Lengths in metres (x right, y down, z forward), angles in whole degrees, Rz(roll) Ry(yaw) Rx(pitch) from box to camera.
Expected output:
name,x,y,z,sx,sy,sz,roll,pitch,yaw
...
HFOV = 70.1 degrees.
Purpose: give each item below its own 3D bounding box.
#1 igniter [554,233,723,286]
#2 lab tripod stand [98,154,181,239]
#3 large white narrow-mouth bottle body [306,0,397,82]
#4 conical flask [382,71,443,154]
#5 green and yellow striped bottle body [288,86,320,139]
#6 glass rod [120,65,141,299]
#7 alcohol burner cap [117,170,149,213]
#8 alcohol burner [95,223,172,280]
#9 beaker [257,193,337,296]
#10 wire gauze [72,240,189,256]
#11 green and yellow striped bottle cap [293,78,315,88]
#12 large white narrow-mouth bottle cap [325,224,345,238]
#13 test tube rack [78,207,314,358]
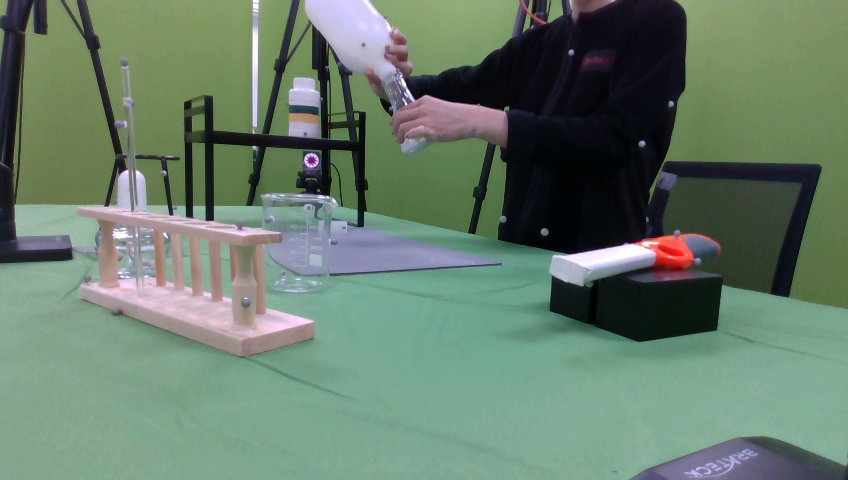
name,x,y,z,sx,sy,sz,roll,pitch,yaw
igniter,0.214,0.015,0.570,0.278,0.025,0.057,-5,22,-44
lab tripod stand,-0.427,-0.066,0.942,0.148,0.131,0.148,1,6,0
large white narrow-mouth bottle body,-0.106,-0.336,0.989,0.102,0.194,0.102,-31,-18,-11
conical flask,-0.026,-0.206,0.970,0.075,0.122,0.075,-26,5,3
green and yellow striped bottle body,-0.250,-0.272,1.261,0.063,0.119,0.063,3,7,0
glass rod,-0.249,-0.047,0.513,0.008,0.199,0.008,-1,4,0
alcohol burner cap,-0.320,-0.052,0.661,0.034,0.048,0.034,-3,0,0
alcohol burner,-0.320,-0.017,0.667,0.078,0.119,0.078,0,7,0
beaker,-0.130,0.003,0.628,0.084,0.100,0.074,5,8,15
wire gauze,-0.399,0.013,0.820,0.126,0.011,0.121,-3,8,-37
green and yellow striped bottle cap,-0.248,-0.323,1.256,0.045,0.020,0.045,4,8,0
large white narrow-mouth bottle cap,-0.160,-0.017,1.090,0.038,0.024,0.037,3,9,0
test tube rack,-0.196,0.024,0.500,0.241,0.085,0.067,8,8,37
